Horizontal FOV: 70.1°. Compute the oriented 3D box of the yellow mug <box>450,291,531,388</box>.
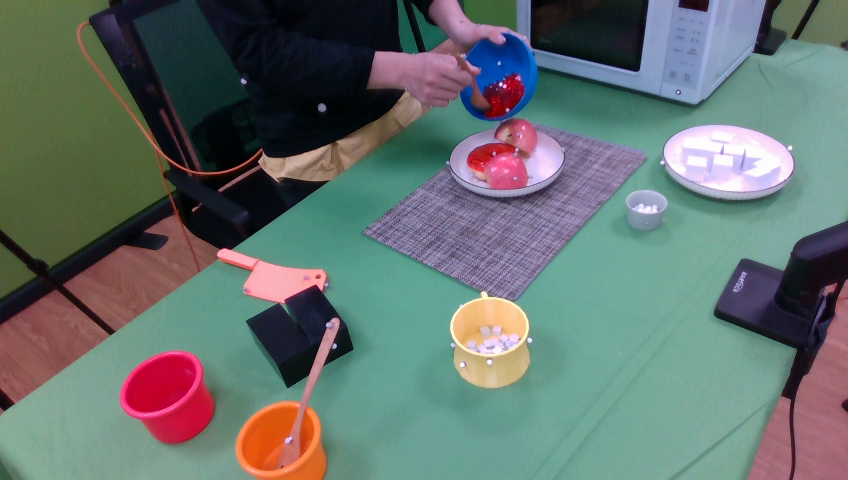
[{"bbox_3d":[0.085,0.120,0.786,0.100,0.064,0.130,-7,39,1],"label":"yellow mug"}]

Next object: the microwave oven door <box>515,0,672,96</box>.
[{"bbox_3d":[0.344,-0.455,1.259,0.353,0.245,0.039,26,51,33],"label":"microwave oven door"}]

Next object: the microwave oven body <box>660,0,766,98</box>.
[{"bbox_3d":[0.472,-0.513,1.317,0.438,0.261,0.327,26,51,34],"label":"microwave oven body"}]

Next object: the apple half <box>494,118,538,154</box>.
[{"bbox_3d":[0.176,-0.197,1.114,0.080,0.053,0.075,29,12,35],"label":"apple half"}]

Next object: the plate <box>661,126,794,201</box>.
[{"bbox_3d":[0.513,-0.128,1.035,0.207,0.039,0.206,-4,40,4],"label":"plate"}]

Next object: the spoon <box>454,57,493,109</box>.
[{"bbox_3d":[0.078,-0.255,0.990,0.041,0.195,0.021,24,85,21],"label":"spoon"}]

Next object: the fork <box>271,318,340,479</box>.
[{"bbox_3d":[-0.132,0.186,0.676,0.028,0.019,0.207,18,90,28],"label":"fork"}]

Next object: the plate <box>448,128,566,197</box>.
[{"bbox_3d":[0.150,-0.138,1.097,0.209,0.038,0.208,-4,40,4],"label":"plate"}]

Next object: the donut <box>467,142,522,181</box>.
[{"bbox_3d":[0.127,-0.144,1.091,0.099,0.048,0.098,-6,37,5],"label":"donut"}]

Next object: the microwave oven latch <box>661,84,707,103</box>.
[{"bbox_3d":[0.517,-0.296,1.204,0.078,0.029,0.030,27,52,35],"label":"microwave oven latch"}]

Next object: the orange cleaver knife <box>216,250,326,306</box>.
[{"bbox_3d":[-0.248,0.058,0.945,0.210,0.012,0.077,13,49,20],"label":"orange cleaver knife"}]

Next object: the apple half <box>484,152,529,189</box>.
[{"bbox_3d":[0.144,-0.117,1.032,0.081,0.033,0.081,3,78,-11],"label":"apple half"}]

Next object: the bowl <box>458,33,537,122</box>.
[{"bbox_3d":[0.143,-0.279,1.068,0.150,0.151,0.077,30,18,36],"label":"bowl"}]

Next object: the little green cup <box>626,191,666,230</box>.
[{"bbox_3d":[0.352,-0.046,0.963,0.061,0.039,0.061,-4,40,4],"label":"little green cup"}]
